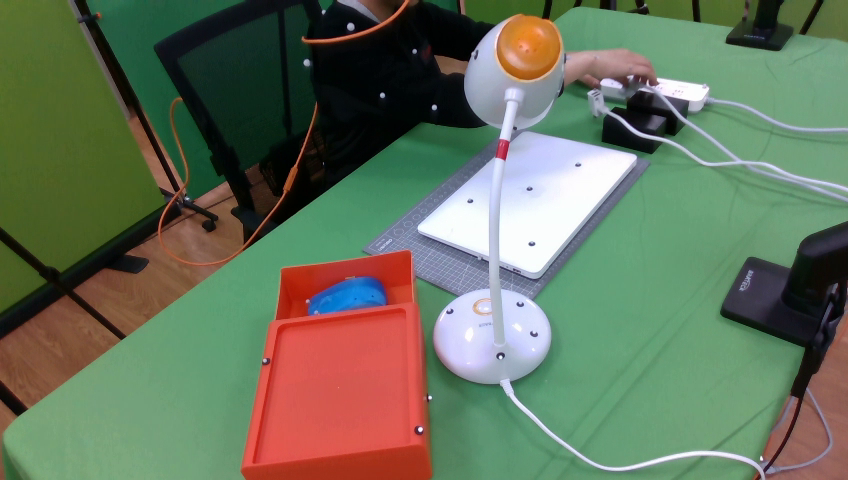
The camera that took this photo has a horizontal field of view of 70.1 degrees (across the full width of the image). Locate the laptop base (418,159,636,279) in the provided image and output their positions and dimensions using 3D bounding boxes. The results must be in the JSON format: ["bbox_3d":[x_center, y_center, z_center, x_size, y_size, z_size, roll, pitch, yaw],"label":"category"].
[{"bbox_3d":[0.185,-0.074,1.042,0.233,0.023,0.355,20,48,35],"label":"laptop base"}]

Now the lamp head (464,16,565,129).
[{"bbox_3d":[0.101,-0.184,0.655,0.112,0.112,0.123,-9,0,0],"label":"lamp head"}]

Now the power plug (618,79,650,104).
[{"bbox_3d":[0.412,-0.286,1.192,0.035,0.053,0.072,-17,37,-3],"label":"power plug"}]

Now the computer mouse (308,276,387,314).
[{"bbox_3d":[-0.112,0.089,0.881,0.117,0.041,0.062,-16,42,-1],"label":"computer mouse"}]

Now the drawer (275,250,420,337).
[{"bbox_3d":[-0.104,0.117,0.825,0.194,0.073,0.210,-8,40,1],"label":"drawer"}]

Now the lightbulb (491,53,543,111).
[{"bbox_3d":[0.108,-0.182,0.679,0.059,0.059,0.108,-9,-3,1],"label":"lightbulb"}]

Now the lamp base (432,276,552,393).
[{"bbox_3d":[0.085,0.075,0.756,0.161,0.181,0.178,-14,44,-5],"label":"lamp base"}]

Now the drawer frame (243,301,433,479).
[{"bbox_3d":[-0.096,0.185,0.738,0.202,0.083,0.212,-8,40,1],"label":"drawer frame"}]

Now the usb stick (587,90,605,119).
[{"bbox_3d":[0.334,-0.258,1.170,0.021,0.059,0.027,-30,45,-5],"label":"usb stick"}]

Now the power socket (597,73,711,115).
[{"bbox_3d":[0.469,-0.304,1.248,0.225,0.033,0.072,20,49,30],"label":"power socket"}]

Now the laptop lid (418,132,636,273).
[{"bbox_3d":[0.181,-0.084,1.036,0.239,0.013,0.358,22,49,35],"label":"laptop lid"}]
